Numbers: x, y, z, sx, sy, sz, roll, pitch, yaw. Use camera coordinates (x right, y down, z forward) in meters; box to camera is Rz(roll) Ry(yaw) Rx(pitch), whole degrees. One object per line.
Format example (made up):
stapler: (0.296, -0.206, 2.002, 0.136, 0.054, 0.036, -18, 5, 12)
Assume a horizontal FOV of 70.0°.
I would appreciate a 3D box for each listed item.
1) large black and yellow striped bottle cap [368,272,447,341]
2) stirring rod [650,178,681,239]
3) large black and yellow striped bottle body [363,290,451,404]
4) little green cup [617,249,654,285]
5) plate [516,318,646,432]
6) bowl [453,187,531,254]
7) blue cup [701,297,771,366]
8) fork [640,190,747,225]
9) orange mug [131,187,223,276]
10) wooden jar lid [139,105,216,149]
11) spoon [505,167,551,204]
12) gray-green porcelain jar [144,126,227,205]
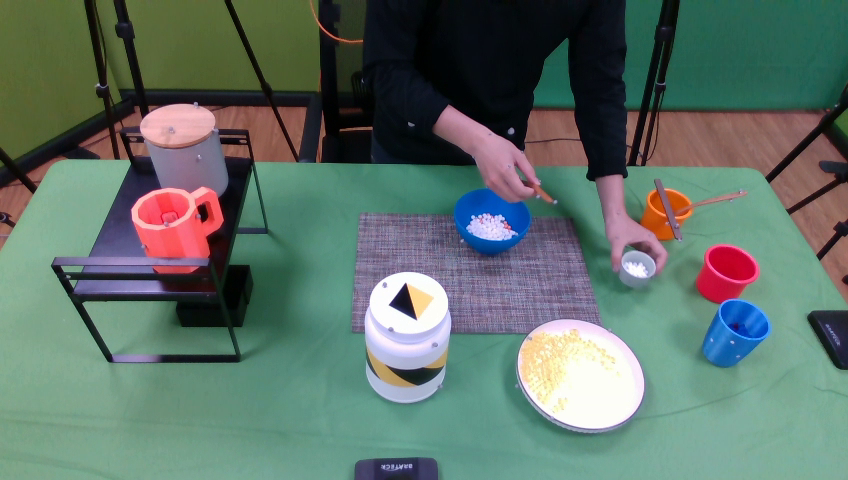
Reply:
large black and yellow striped bottle cap: (-0.023, 0.093, 0.875, 0.115, 0.019, 0.114, 3, 46, -3)
stirring rod: (0.479, -0.065, 1.204, 0.014, 0.006, 0.175, 3, 46, -3)
large black and yellow striped bottle body: (-0.027, 0.153, 0.935, 0.131, 0.185, 0.130, 2, 46, -2)
little green cup: (0.385, 0.051, 1.114, 0.061, 0.039, 0.061, 2, 50, -2)
plate: (0.253, 0.221, 0.992, 0.209, 0.038, 0.208, 2, 46, -2)
bowl: (0.128, -0.026, 1.187, 0.151, 0.077, 0.150, 2, 46, -2)
blue cup: (0.519, 0.162, 1.025, 0.093, 0.101, 0.092, 3, 45, -3)
fork: (0.533, -0.064, 1.211, 0.207, 0.019, 0.028, -22, 27, 38)
orange mug: (-0.354, -0.022, 0.888, 0.083, 0.101, 0.126, 31, 55, 24)
wooden jar lid: (-0.372, -0.169, 0.920, 0.108, 0.021, 0.107, 4, 44, -4)
spoon: (0.181, -0.096, 1.048, 0.042, 0.021, 0.193, 27, 10, -18)
gray-green porcelain jar: (-0.375, -0.126, 0.967, 0.106, 0.127, 0.105, 2, 46, -2)
